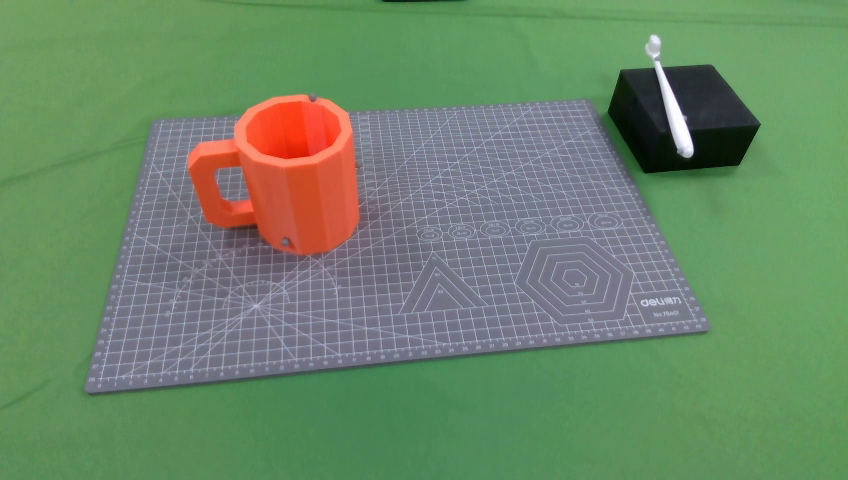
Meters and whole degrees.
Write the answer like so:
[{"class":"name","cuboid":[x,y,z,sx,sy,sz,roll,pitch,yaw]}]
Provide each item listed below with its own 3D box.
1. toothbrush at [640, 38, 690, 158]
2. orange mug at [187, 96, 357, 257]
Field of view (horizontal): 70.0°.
[{"class":"toothbrush","cuboid":[0.228,-0.140,0.574,0.014,0.017,0.180,6,49,-2]},{"class":"orange mug","cuboid":[-0.117,-0.048,0.479,0.126,0.101,0.082,-7,49,-15]}]
